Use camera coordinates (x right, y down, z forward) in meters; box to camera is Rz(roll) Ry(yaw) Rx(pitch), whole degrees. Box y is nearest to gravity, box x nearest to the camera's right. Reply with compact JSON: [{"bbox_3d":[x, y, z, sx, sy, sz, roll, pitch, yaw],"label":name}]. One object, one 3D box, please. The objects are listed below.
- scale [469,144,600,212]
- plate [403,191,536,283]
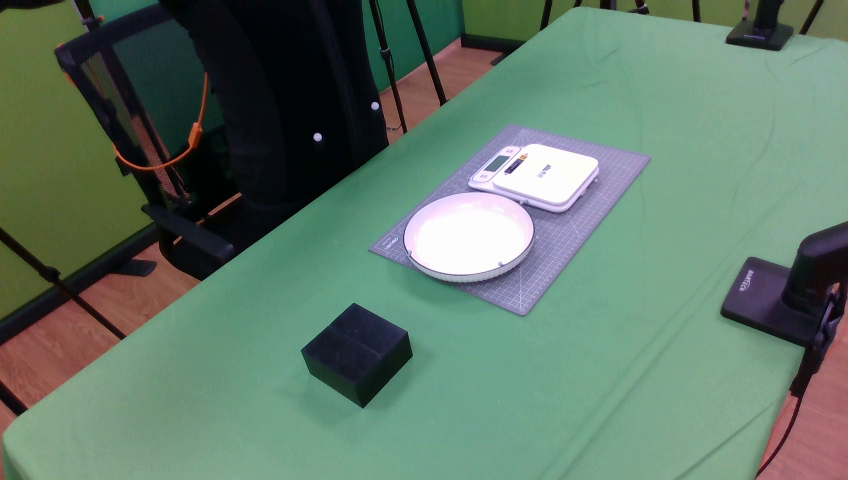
[{"bbox_3d":[0.194,-0.117,1.075,0.199,0.032,0.149,21,48,32],"label":"scale"},{"bbox_3d":[0.071,-0.003,0.959,0.209,0.038,0.208,-5,40,5],"label":"plate"}]
